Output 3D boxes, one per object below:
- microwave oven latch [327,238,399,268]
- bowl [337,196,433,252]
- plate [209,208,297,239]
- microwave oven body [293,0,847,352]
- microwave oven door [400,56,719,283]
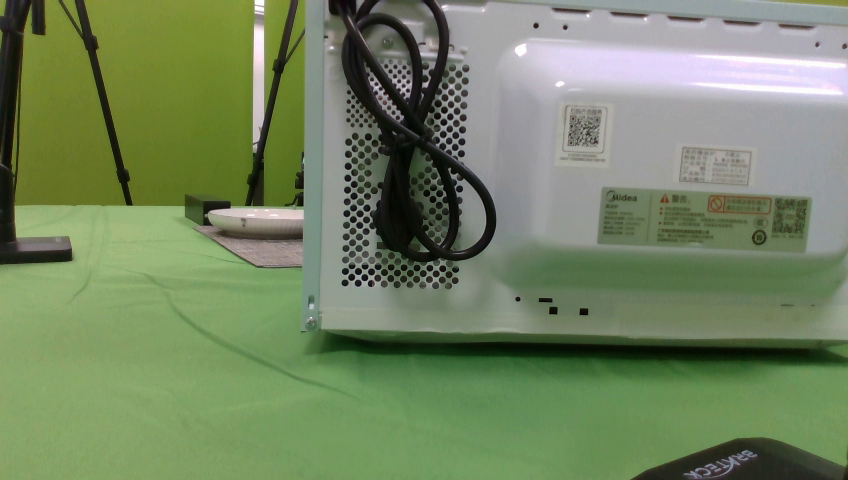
[{"bbox_3d":[-0.069,0.015,0.694,0.079,0.029,0.030,3,7,-3],"label":"microwave oven latch"},{"bbox_3d":[-0.062,-0.025,0.955,0.151,0.077,0.151,3,8,0],"label":"bowl"},{"bbox_3d":[-0.271,-0.029,1.074,0.208,0.039,0.207,3,7,0],"label":"plate"},{"bbox_3d":[0.122,-0.055,0.550,0.442,0.260,0.325,3,7,-5],"label":"microwave oven body"},{"bbox_3d":[0.155,-0.077,0.698,0.356,0.243,0.039,2,8,-5],"label":"microwave oven door"}]
